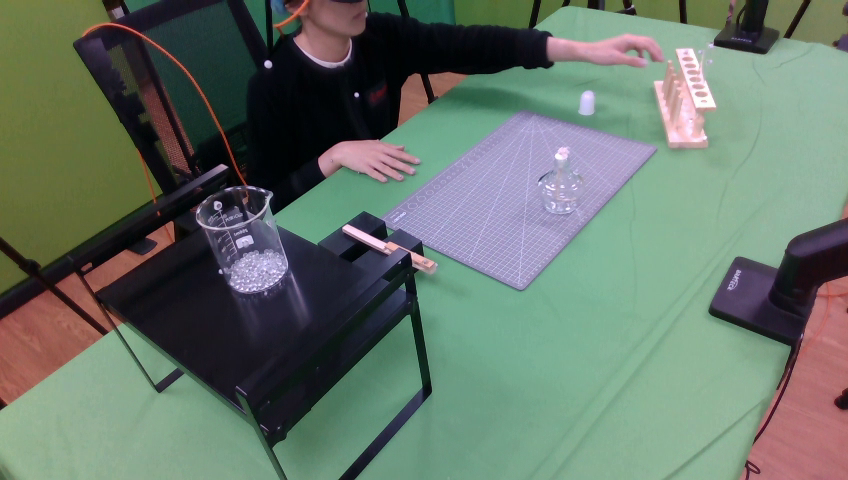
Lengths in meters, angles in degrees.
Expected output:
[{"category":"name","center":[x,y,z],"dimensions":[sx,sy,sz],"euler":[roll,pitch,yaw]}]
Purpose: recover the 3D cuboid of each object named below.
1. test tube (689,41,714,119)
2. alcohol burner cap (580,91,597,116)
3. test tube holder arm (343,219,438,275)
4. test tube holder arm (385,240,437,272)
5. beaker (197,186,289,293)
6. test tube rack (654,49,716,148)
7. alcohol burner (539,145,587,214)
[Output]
[{"category":"test tube","center":[0.509,-0.291,1.111],"dimensions":[0.017,0.151,0.017],"euler":[-3,39,3]},{"category":"alcohol burner cap","center":[0.338,-0.283,1.239],"dimensions":[0.034,0.048,0.033],"euler":[-5,42,5]},{"category":"test tube holder arm","center":[-0.054,0.009,0.899],"dimensions":[0.177,0.013,0.015],"euler":[26,59,30]},{"category":"test tube holder arm","center":[-0.020,0.022,0.872],"dimensions":[0.087,0.010,0.015],"euler":[26,59,31]},{"category":"beaker","center":[-0.192,0.001,0.666],"dimensions":[0.084,0.101,0.073],"euler":[-33,47,-27]},{"category":"test tube rack","center":[0.502,-0.281,1.176],"dimensions":[0.066,0.085,0.241],"euler":[1,41,11]},{"category":"alcohol burner","center":[0.226,-0.102,0.986],"dimensions":[0.078,0.119,0.077],"euler":[-6,41,6]}]
